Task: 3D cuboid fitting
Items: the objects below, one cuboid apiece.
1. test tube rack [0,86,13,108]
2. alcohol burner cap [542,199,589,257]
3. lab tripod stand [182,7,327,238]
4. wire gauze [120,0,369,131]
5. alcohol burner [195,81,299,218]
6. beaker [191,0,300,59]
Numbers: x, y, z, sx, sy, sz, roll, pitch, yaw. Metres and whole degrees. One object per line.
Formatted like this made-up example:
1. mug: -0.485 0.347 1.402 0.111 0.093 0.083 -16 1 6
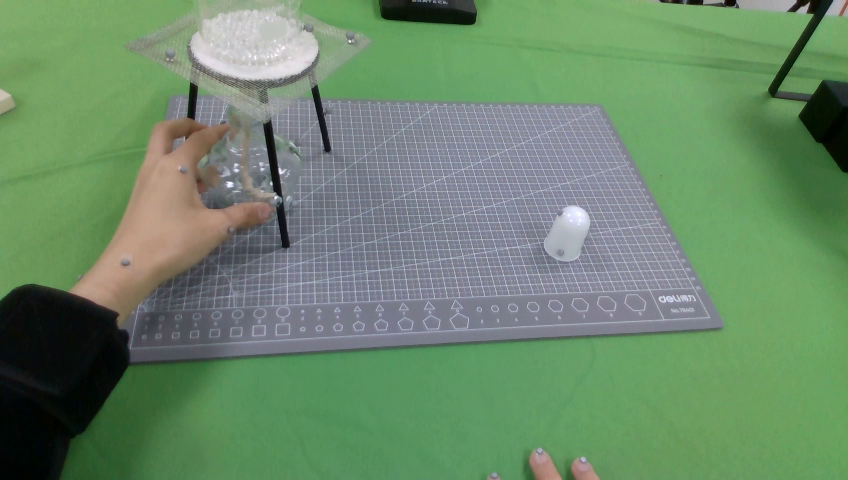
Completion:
1. test tube rack: -0.456 -0.097 0.451 0.066 0.086 0.241 28 50 15
2. alcohol burner cap: 0.119 -0.012 0.502 0.034 0.048 0.033 4 48 -5
3. lab tripod stand: -0.126 -0.095 0.471 0.149 0.132 0.147 6 48 -7
4. wire gauze: -0.120 -0.138 0.423 0.124 0.011 0.121 31 53 12
5. alcohol burner: -0.136 -0.074 0.465 0.078 0.120 0.077 6 47 -6
6. beaker: -0.118 -0.175 0.389 0.073 0.101 0.084 36 54 19
